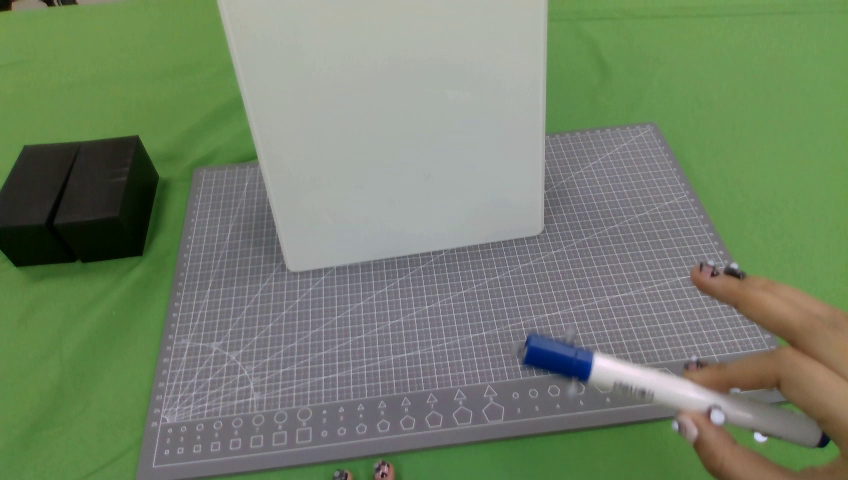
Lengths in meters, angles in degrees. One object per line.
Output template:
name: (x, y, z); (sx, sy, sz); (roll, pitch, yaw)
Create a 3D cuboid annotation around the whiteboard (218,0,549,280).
whiteboard: (-0.027, -0.148, 0.478); (0.217, 0.308, 0.142); (-8, 31, -4)

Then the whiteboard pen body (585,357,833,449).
whiteboard pen body: (0.120, 0.074, 0.288); (0.141, 0.017, 0.017); (15, 51, 3)

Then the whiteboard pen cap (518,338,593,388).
whiteboard pen cap: (0.063, 0.060, 0.291); (0.033, 0.018, 0.018); (16, 52, 3)
